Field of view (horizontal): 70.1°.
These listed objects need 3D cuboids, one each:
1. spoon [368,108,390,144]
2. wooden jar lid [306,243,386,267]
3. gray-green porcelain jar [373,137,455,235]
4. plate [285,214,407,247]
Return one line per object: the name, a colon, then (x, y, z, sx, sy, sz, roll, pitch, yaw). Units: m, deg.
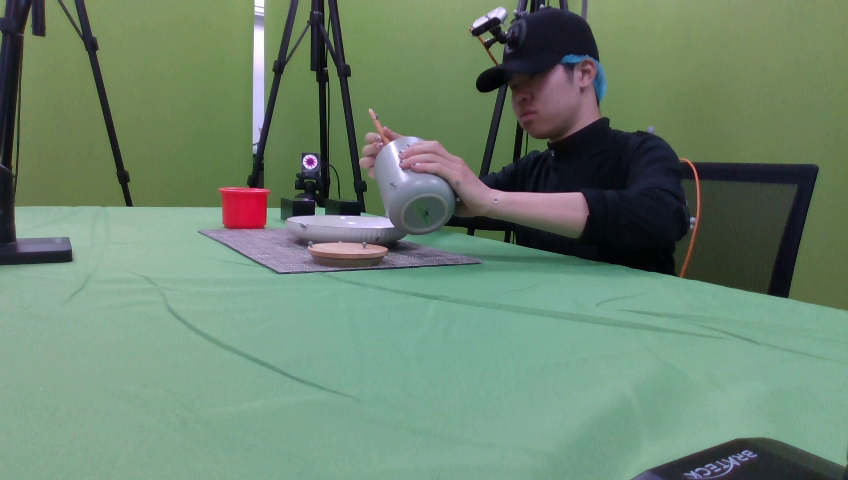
spoon: (-0.052, -0.155, 0.990, 0.193, 0.021, 0.042, 54, 5, 31)
wooden jar lid: (-0.105, 0.020, 0.816, 0.108, 0.020, 0.108, 1, 7, 0)
gray-green porcelain jar: (-0.014, -0.078, 0.910, 0.106, 0.106, 0.126, 0, 41, -18)
plate: (-0.127, -0.015, 1.012, 0.208, 0.039, 0.207, 3, 7, 0)
